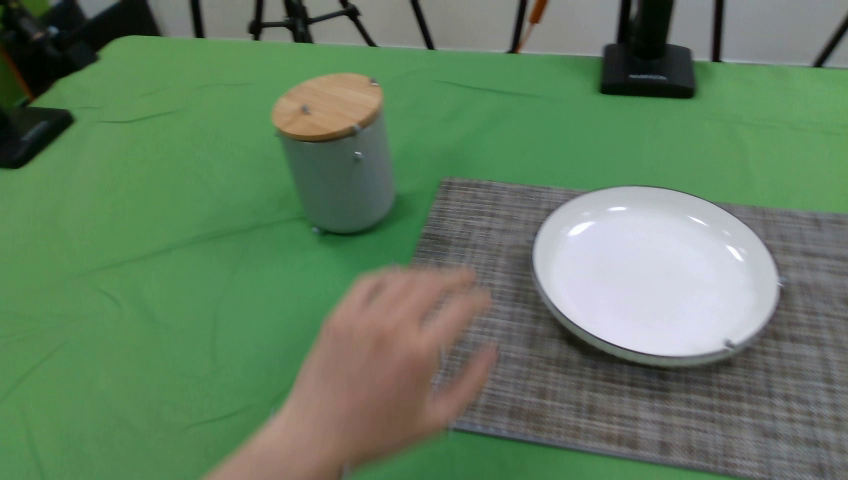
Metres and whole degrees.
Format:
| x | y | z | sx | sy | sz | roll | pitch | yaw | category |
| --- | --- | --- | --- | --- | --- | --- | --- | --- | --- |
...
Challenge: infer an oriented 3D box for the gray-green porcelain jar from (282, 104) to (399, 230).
| x | y | z | sx | sy | sz | roll | pitch | yaw | category |
| --- | --- | --- | --- | --- | --- | --- | --- | --- | --- |
| -0.082 | -0.082 | 0.631 | 0.106 | 0.128 | 0.105 | -3 | 45 | 3 | gray-green porcelain jar |

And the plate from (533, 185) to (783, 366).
| x | y | z | sx | sy | sz | roll | pitch | yaw | category |
| --- | --- | --- | --- | --- | --- | --- | --- | --- | --- |
| 0.202 | 0.030 | 0.545 | 0.207 | 0.039 | 0.205 | -3 | 44 | 3 | plate |

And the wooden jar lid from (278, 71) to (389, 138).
| x | y | z | sx | sy | sz | roll | pitch | yaw | category |
| --- | --- | --- | --- | --- | --- | --- | --- | --- | --- |
| -0.086 | -0.128 | 0.586 | 0.108 | 0.021 | 0.107 | -5 | 45 | 5 | wooden jar lid |
